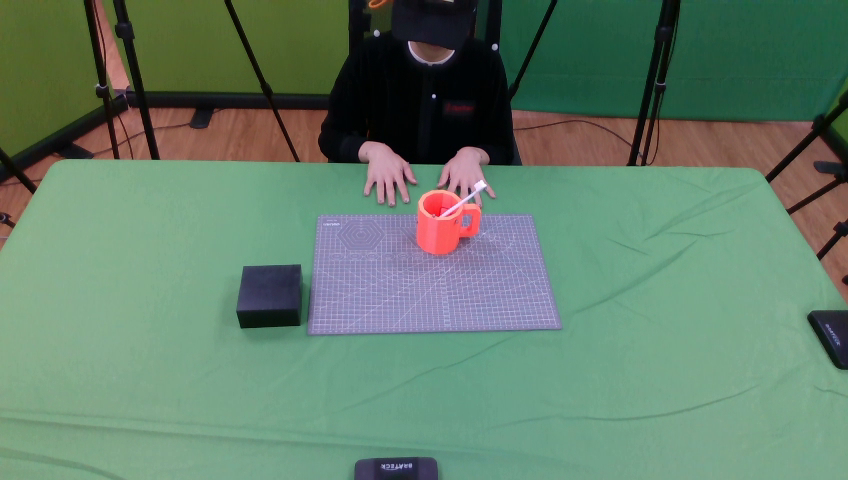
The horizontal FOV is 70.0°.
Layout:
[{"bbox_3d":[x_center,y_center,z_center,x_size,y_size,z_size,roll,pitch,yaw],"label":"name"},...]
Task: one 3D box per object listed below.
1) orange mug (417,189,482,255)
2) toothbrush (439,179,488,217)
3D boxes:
[{"bbox_3d":[0.049,-0.037,1.176,0.126,0.101,0.083,-7,46,-4],"label":"orange mug"},{"bbox_3d":[0.053,-0.061,1.147,0.016,0.182,0.014,56,37,5],"label":"toothbrush"}]
